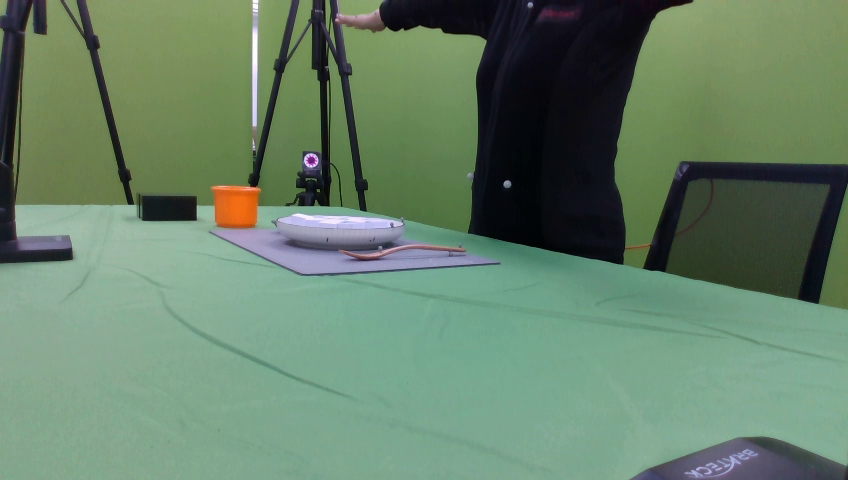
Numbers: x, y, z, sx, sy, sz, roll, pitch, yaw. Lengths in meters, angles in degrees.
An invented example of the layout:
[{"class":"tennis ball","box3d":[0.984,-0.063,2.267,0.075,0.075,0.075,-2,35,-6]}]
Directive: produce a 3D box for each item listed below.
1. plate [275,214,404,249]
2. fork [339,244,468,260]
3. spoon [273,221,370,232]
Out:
[{"class":"plate","box3d":[-0.135,-0.013,0.982,0.208,0.039,0.207,3,7,0]},{"class":"fork","box3d":[-0.024,0.016,0.865,0.208,0.018,0.028,-4,3,-31]},{"class":"spoon","box3d":[-0.187,-0.027,1.132,0.195,0.021,0.041,-3,-8,-34]}]
